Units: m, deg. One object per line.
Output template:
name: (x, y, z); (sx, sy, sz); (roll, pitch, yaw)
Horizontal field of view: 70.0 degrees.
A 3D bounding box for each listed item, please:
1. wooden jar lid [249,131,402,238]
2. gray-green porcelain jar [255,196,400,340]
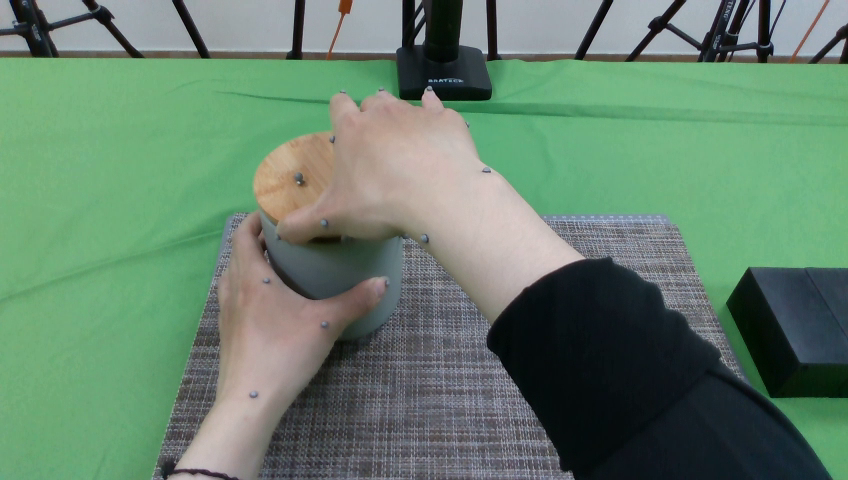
wooden jar lid: (-0.070, -0.039, 0.438); (0.108, 0.021, 0.107); (3, 48, -3)
gray-green porcelain jar: (-0.073, 0.009, 0.485); (0.106, 0.127, 0.105); (2, 45, -2)
